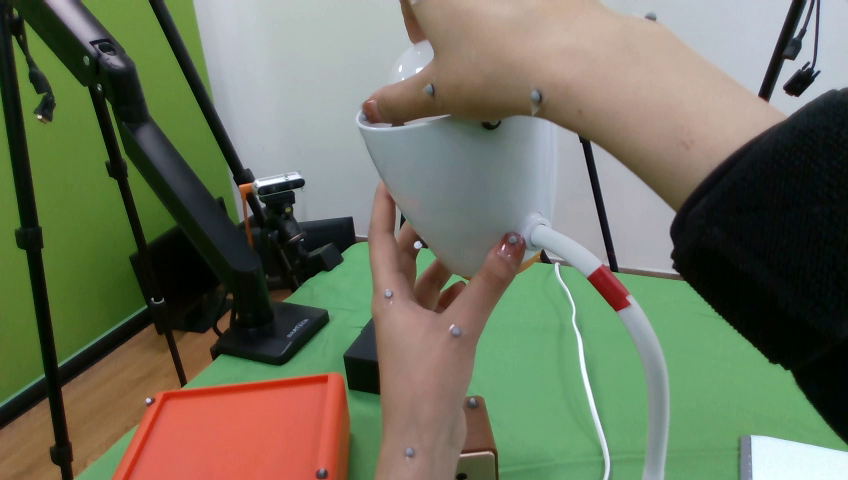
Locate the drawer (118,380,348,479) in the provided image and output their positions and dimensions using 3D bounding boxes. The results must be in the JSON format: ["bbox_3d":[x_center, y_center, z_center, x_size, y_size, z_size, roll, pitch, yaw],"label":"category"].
[{"bbox_3d":[-0.174,0.224,0.552,0.194,0.074,0.210,-6,25,-2],"label":"drawer"}]

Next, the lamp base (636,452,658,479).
[{"bbox_3d":[0.143,0.233,0.360,0.161,0.181,0.177,-8,22,-5],"label":"lamp base"}]

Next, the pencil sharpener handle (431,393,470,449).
[{"bbox_3d":[0.023,0.167,0.579,0.036,0.068,0.030,-1,25,-4],"label":"pencil sharpener handle"}]

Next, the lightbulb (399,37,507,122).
[{"bbox_3d":[0.025,-0.063,0.347,0.059,0.109,0.059,-18,35,14],"label":"lightbulb"}]

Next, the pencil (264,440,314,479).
[{"bbox_3d":[-0.171,0.241,0.525,0.012,0.012,0.194,21,47,42],"label":"pencil"}]

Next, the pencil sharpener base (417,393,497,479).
[{"bbox_3d":[0.029,0.199,0.539,0.061,0.108,0.076,-6,26,-2],"label":"pencil sharpener base"}]

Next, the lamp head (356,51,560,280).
[{"bbox_3d":[0.033,-0.037,0.357,0.112,0.124,0.111,-18,22,8],"label":"lamp head"}]

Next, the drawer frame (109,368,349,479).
[{"bbox_3d":[-0.175,0.222,0.554,0.202,0.083,0.211,-6,25,-2],"label":"drawer frame"}]
